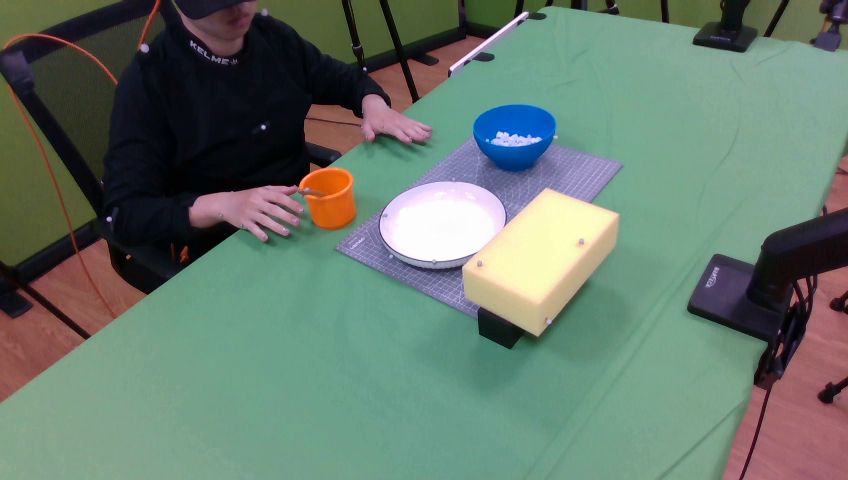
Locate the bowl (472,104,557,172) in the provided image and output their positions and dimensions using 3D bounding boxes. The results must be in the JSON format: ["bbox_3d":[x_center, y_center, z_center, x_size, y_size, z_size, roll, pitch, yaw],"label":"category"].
[{"bbox_3d":[0.165,-0.178,1.105,0.151,0.077,0.150,-4,40,4],"label":"bowl"}]

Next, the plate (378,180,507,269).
[{"bbox_3d":[0.031,-0.022,0.974,0.209,0.038,0.208,-4,40,4],"label":"plate"}]

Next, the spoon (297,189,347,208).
[{"bbox_3d":[-0.169,-0.069,0.979,0.041,0.194,0.021,0,85,10],"label":"spoon"}]

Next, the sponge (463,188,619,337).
[{"bbox_3d":[0.160,0.022,0.814,0.117,0.061,0.207,24,50,32],"label":"sponge"}]
